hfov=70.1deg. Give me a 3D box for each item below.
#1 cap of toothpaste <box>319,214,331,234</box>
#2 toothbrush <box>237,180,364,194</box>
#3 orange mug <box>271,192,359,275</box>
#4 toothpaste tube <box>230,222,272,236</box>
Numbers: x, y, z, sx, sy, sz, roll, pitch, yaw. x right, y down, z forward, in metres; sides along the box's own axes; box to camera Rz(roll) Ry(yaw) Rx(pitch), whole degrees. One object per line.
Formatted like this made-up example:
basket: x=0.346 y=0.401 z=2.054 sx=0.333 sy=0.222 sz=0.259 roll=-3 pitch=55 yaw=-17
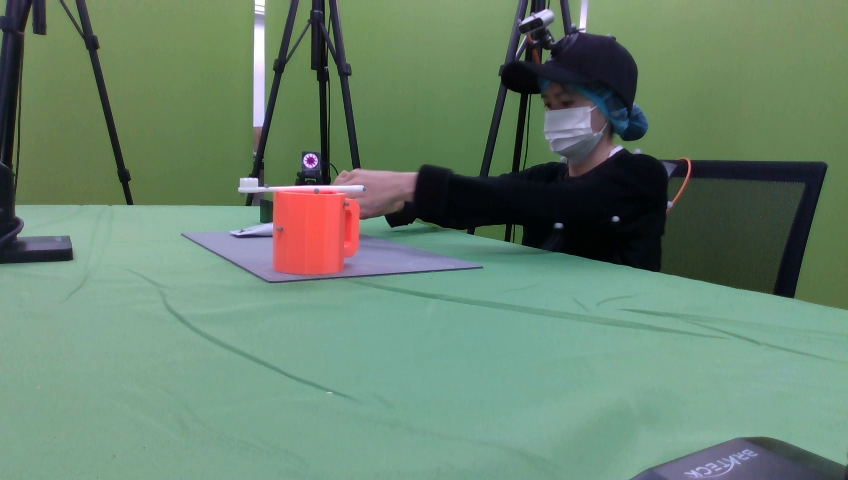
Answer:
cap of toothpaste: x=-0.180 y=-0.029 z=1.097 sx=0.011 sy=0.037 sz=0.037 roll=-4 pitch=10 yaw=-39
toothbrush: x=-0.144 y=-0.064 z=0.737 sx=0.014 sy=0.016 sz=0.183 roll=4 pitch=6 yaw=43
orange mug: x=-0.131 y=-0.013 z=0.754 sx=0.083 sy=0.101 sz=0.127 roll=8 pitch=13 yaw=38
toothpaste tube: x=-0.250 y=-0.021 z=1.056 sx=0.166 sy=0.034 sz=0.055 roll=-6 pitch=5 yaw=-32
